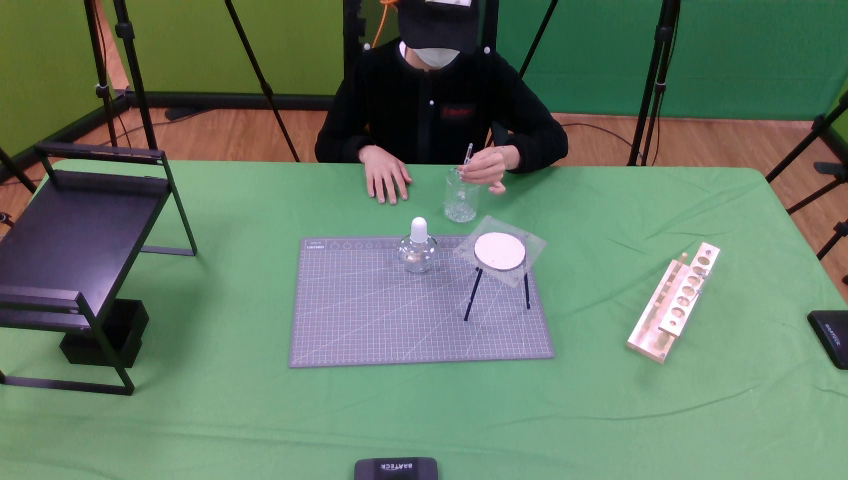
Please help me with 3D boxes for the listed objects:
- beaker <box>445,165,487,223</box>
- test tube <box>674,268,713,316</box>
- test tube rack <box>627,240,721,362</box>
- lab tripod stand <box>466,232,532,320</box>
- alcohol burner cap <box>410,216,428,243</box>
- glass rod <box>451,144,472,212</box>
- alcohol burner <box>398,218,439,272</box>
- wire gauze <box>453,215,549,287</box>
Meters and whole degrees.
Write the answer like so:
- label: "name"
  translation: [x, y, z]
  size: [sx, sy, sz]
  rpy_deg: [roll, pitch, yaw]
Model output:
- label: "beaker"
  translation: [0.082, -0.092, 1.237]
  size: [0.084, 0.101, 0.073]
  rpy_deg: [-7, 48, -11]
- label: "test tube"
  translation: [0.445, 0.098, 1.017]
  size: [0.017, 0.151, 0.017]
  rpy_deg: [4, 49, -4]
- label: "test tube rack"
  translation: [0.452, 0.098, 1.087]
  size: [0.066, 0.085, 0.242]
  rpy_deg: [28, 51, 22]
- label: "lab tripod stand"
  translation: [0.125, 0.059, 1.065]
  size: [0.148, 0.132, 0.147]
  rpy_deg: [1, 45, 0]
- label: "alcohol burner cap"
  translation: [-0.009, -0.022, 1.099]
  size: [0.034, 0.048, 0.033]
  rpy_deg: [2, 41, -1]
- label: "glass rod"
  translation: [0.072, -0.116, 1.183]
  size: [0.008, 0.200, 0.008]
  rpy_deg: [4, 55, -6]
- label: "alcohol burner"
  translation: [-0.010, 0.004, 1.123]
  size: [0.078, 0.120, 0.077]
  rpy_deg: [1, 47, 0]
- label: "wire gauze"
  translation: [0.129, 0.012, 1.017]
  size: [0.124, 0.011, 0.121]
  rpy_deg: [28, 50, 23]
